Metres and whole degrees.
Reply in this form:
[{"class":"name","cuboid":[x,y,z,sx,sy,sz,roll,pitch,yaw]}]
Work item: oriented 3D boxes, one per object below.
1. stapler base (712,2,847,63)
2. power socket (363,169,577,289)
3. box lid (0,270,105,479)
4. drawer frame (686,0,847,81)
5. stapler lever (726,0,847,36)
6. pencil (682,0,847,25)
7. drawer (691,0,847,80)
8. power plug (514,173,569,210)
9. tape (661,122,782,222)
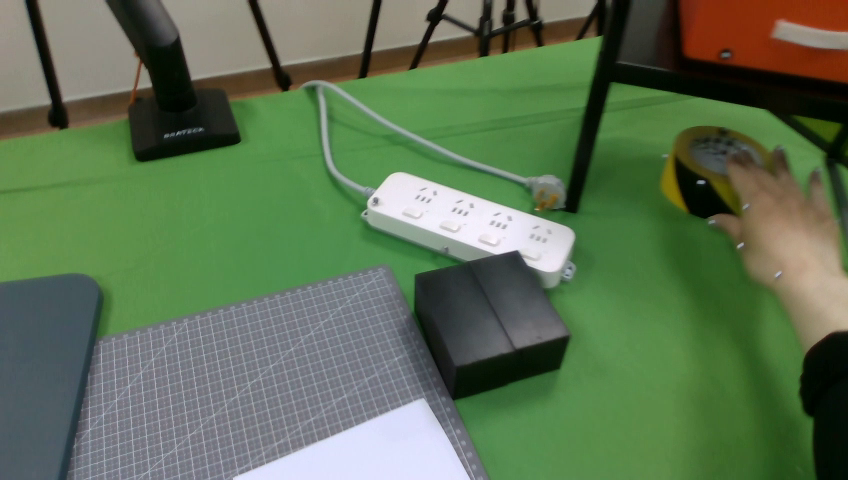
[{"class":"stapler base","cuboid":[0.332,-0.191,0.544,0.130,0.024,0.041,24,46,22]},{"class":"power socket","cuboid":[0.047,-0.014,0.615,0.225,0.033,0.072,20,47,17]},{"class":"box lid","cuboid":[-0.389,0.172,0.423,0.264,0.015,0.367,-7,46,-9]},{"class":"drawer frame","cuboid":[0.354,-0.236,0.561,0.201,0.083,0.212,11,45,9]},{"class":"stapler lever","cuboid":[0.331,-0.209,0.528,0.117,0.040,0.027,25,47,21]},{"class":"pencil","cuboid":[0.334,-0.214,0.566,0.012,0.012,0.192,-35,45,-31]},{"class":"drawer","cuboid":[0.353,-0.233,0.560,0.194,0.074,0.210,12,45,10]},{"class":"power plug","cuboid":[0.125,-0.050,0.666,0.072,0.035,0.052,-8,27,43]},{"class":"tape","cuboid":[0.332,-0.077,0.678,0.117,0.053,0.115,2,47,-1]}]
